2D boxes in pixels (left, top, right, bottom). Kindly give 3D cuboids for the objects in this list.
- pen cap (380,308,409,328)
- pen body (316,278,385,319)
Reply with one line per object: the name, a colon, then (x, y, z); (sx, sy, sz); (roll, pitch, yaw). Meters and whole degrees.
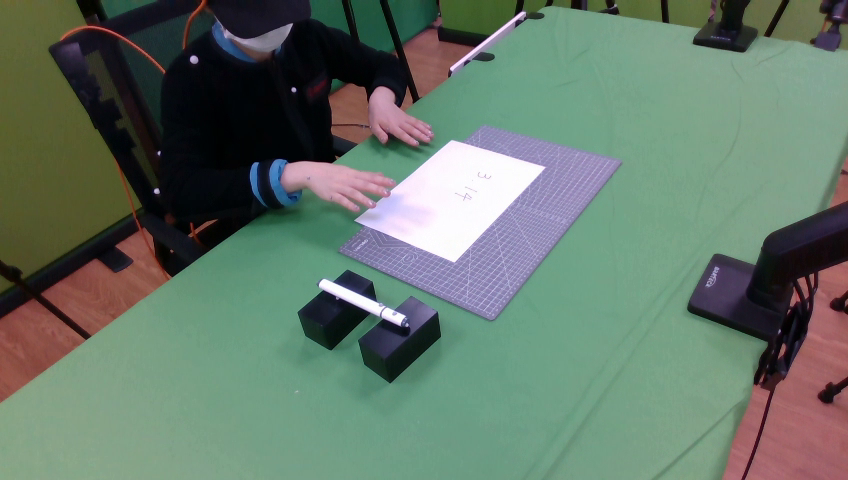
pen cap: (-0.037, 0.102, 0.782); (0.038, 0.017, 0.017); (19, 47, 29)
pen body: (-0.088, 0.083, 0.813); (0.143, 0.017, 0.017); (21, 48, 29)
